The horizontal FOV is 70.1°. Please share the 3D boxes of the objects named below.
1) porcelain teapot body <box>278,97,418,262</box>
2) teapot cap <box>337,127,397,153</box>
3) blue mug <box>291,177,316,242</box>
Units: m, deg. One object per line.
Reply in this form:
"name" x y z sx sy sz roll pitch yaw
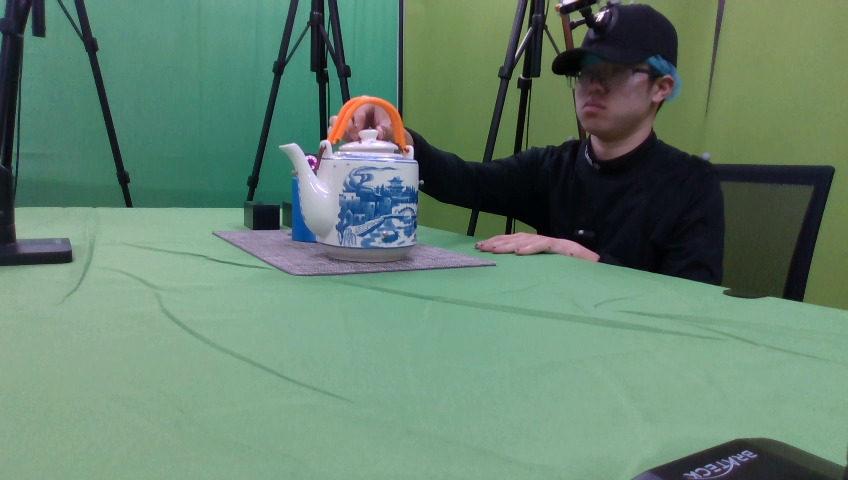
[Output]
"porcelain teapot body" -0.104 -0.086 0.842 0.206 0.225 0.144 -4 10 -38
"teapot cap" -0.081 -0.137 0.858 0.085 0.044 0.085 -3 5 1
"blue mug" -0.169 -0.054 1.038 0.117 0.106 0.082 -2 8 -31
